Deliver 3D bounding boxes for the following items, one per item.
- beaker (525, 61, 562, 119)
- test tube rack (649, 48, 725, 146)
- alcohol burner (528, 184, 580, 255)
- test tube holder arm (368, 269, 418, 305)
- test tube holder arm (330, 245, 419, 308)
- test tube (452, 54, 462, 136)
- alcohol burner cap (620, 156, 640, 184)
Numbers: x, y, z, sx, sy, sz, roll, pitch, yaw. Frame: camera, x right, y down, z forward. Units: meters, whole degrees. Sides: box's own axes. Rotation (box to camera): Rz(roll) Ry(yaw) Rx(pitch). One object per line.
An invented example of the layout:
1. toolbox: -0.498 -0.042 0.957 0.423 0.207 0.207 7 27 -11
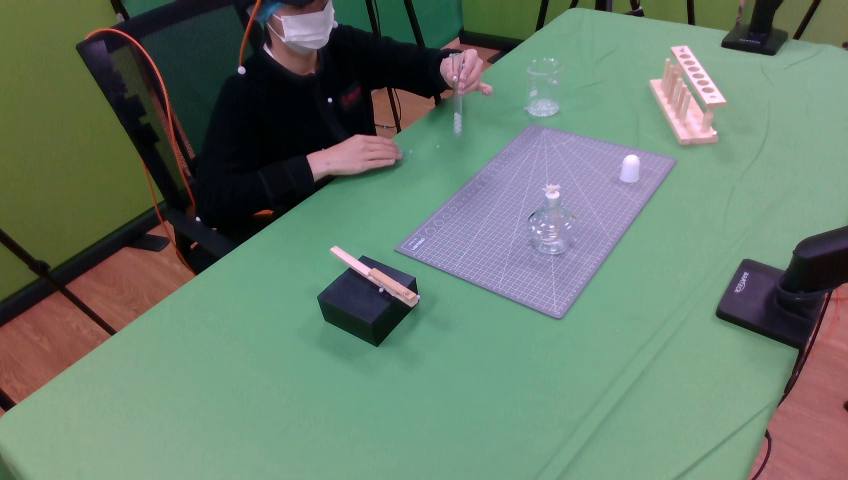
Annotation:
1. beaker: 0.248 -0.309 1.245 0.073 0.101 0.084 29 52 36
2. test tube rack: 0.508 -0.285 1.186 0.067 0.085 0.241 -4 40 6
3. alcohol burner: 0.196 -0.036 0.911 0.078 0.119 0.077 -6 41 5
4. test tube holder arm: -0.043 0.063 0.827 0.015 0.010 0.087 -37 47 -29
5. test tube holder arm: -0.074 0.049 0.857 0.177 0.013 0.015 30 53 36
6. test tube: 0.057 -0.249 1.049 0.017 0.151 0.017 -1 40 1
7. alcohol burner cap: 0.358 -0.124 1.047 0.034 0.048 0.033 -4 40 4
